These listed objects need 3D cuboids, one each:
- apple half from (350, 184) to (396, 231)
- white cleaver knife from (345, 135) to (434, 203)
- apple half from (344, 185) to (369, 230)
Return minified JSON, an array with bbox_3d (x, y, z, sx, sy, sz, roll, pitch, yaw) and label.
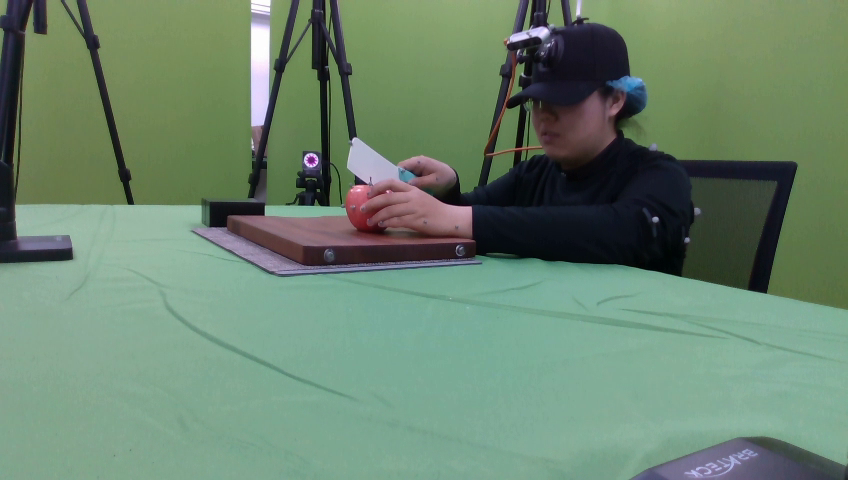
[{"bbox_3d":[-0.074,-0.050,0.954,0.053,0.074,0.081,10,8,28],"label":"apple half"},{"bbox_3d":[-0.056,-0.104,1.035,0.021,0.066,0.288,6,-9,29],"label":"white cleaver knife"},{"bbox_3d":[-0.108,-0.054,0.972,0.032,0.081,0.081,11,10,28],"label":"apple half"}]
